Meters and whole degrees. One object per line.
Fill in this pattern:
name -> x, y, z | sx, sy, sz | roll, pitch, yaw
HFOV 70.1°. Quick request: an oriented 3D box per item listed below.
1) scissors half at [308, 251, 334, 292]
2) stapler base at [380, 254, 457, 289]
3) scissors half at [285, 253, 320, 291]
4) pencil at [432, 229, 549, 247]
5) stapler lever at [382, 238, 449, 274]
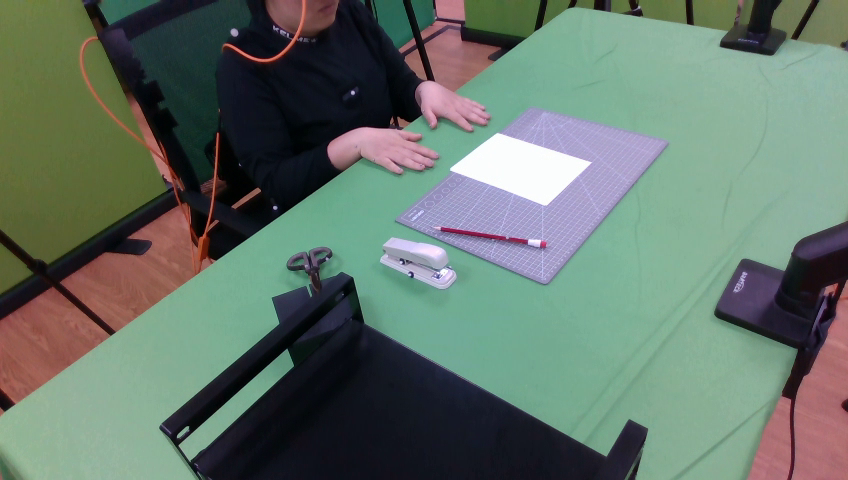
scissors half -> -0.159, 0.046, 0.913 | 0.040, 0.013, 0.174 | -4, 17, -5
stapler base -> -0.010, 0.037, 0.934 | 0.129, 0.024, 0.041 | 20, 44, 31
scissors half -> -0.179, 0.049, 0.909 | 0.040, 0.013, 0.174 | -15, 19, -20
pencil -> 0.103, -0.005, 0.970 | 0.193, 0.012, 0.012 | 7, 42, 18
stapler lever -> -0.014, 0.018, 0.919 | 0.117, 0.040, 0.027 | 20, 45, 31
